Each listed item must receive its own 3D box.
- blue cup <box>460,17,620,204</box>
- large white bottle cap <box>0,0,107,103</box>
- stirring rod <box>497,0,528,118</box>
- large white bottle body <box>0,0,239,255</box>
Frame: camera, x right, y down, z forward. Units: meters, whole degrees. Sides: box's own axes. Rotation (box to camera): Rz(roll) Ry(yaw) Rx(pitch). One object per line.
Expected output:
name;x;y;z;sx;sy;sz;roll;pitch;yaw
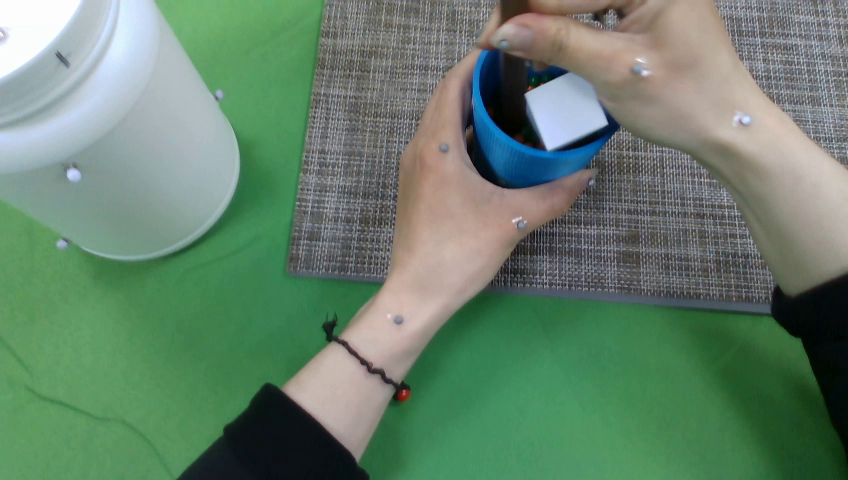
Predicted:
blue cup;0.066;-0.067;0.370;0.092;0.101;0.092;-1;72;4
large white bottle cap;-0.192;-0.106;0.251;0.115;0.018;0.114;0;72;0
stirring rod;0.045;-0.091;0.302;0.014;0.177;0.006;-29;69;-2
large white bottle body;-0.191;-0.078;0.331;0.130;0.185;0.130;0;72;0
